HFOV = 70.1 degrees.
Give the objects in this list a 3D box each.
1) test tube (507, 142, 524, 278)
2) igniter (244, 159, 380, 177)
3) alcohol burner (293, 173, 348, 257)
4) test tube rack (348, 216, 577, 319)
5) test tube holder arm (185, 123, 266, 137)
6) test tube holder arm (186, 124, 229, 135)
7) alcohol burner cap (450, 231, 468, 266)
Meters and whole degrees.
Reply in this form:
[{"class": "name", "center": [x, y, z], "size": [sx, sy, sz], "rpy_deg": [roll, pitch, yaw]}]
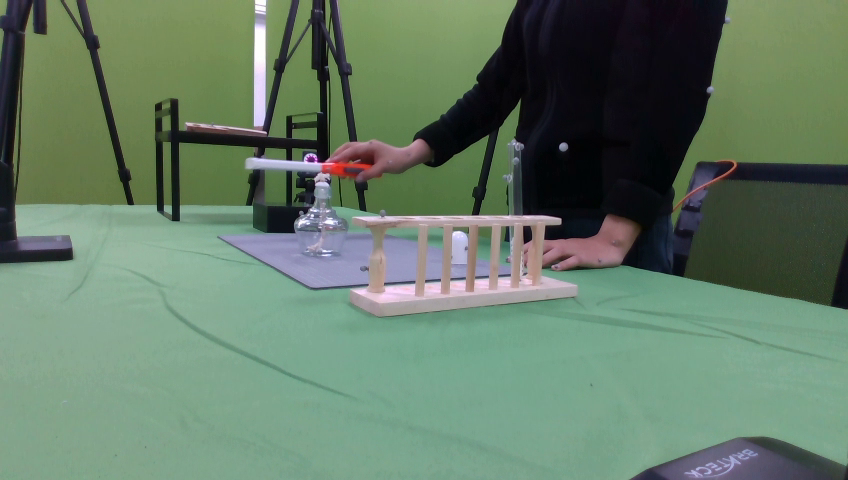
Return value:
[{"class": "test tube", "center": [0.101, -0.032, 0.666], "size": [0.017, 0.150, 0.017], "rpy_deg": [-2, 6, 1]}, {"class": "igniter", "center": [-0.189, -0.129, 1.092], "size": [0.278, 0.025, 0.057], "rpy_deg": [-3, 5, -42]}, {"class": "alcohol burner", "center": [-0.146, -0.036, 0.859], "size": [0.078, 0.119, 0.078], "rpy_deg": [4, 8, 0]}, {"class": "test tube rack", "center": [0.048, 0.021, 0.619], "size": [0.244, 0.085, 0.066], "rpy_deg": [-2, 9, -31]}, {"class": "test tube holder arm", "center": [-0.433, -0.242, 1.333], "size": [0.179, 0.015, 0.013], "rpy_deg": [-3, 48, -42]}, {"class": "test tube holder arm", "center": [-0.465, -0.236, 1.300], "size": [0.088, 0.015, 0.010], "rpy_deg": [-2, 47, -41]}, {"class": "alcohol burner cap", "center": [0.046, 0.012, 0.838], "size": [0.034, 0.048, 0.034], "rpy_deg": [3, 6, 0]}]
